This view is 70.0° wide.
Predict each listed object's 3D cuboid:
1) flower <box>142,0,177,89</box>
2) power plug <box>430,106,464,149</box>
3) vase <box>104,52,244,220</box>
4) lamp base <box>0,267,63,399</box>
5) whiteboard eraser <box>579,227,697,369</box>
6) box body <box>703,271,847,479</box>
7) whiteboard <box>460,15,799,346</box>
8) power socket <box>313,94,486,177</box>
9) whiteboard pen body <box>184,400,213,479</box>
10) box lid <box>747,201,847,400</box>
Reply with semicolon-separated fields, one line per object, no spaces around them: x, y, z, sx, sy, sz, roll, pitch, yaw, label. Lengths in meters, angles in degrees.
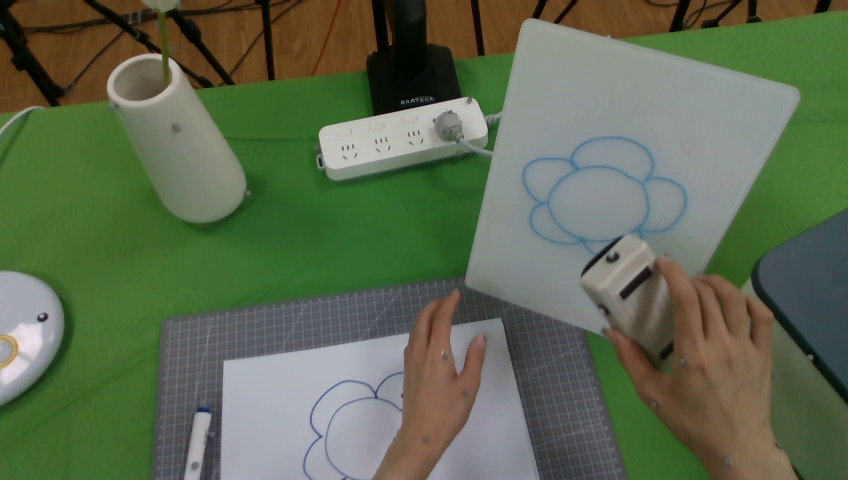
-0.248;-0.142;0.584;0.038;0.363;0.044;39;58;2;flower
0.027;-0.130;0.738;0.035;0.053;0.072;-4;67;-1;power plug
-0.268;-0.106;0.658;0.098;0.201;0.097;-1;60;2;vase
-0.481;0.058;0.579;0.178;0.182;0.160;21;62;15;lamp base
0.165;0.046;0.471;0.055;0.114;0.041;-45;27;-9;whiteboard eraser
0.466;0.143;0.532;0.254;0.161;0.360;-25;63;-13;box body
0.183;-0.069;0.608;0.216;0.308;0.143;20;42;12;whiteboard
-0.029;-0.133;0.766;0.227;0.033;0.071;-13;62;-7;power socket
-0.218;0.222;0.572;0.017;0.017;0.139;-1;63;1;whiteboard pen body
0.464;0.104;0.468;0.263;0.015;0.368;-25;64;-12;box lid
